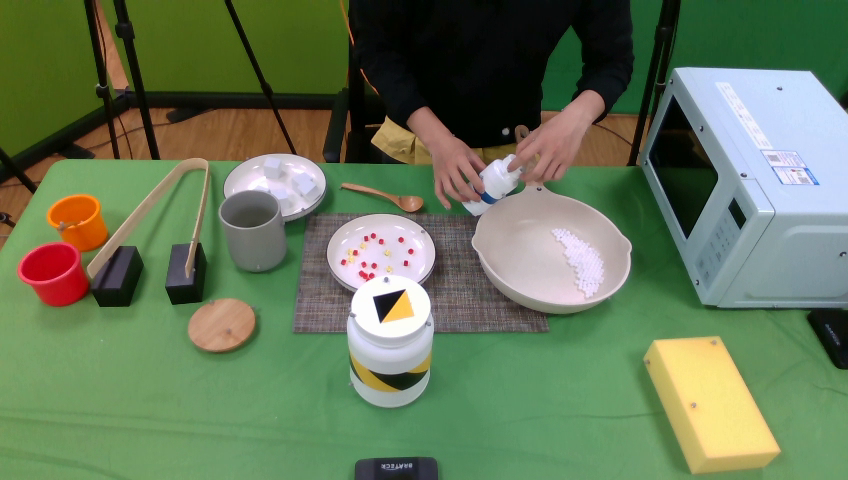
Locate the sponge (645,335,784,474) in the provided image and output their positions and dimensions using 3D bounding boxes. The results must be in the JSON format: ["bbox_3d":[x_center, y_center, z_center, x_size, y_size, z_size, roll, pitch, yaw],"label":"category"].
[{"bbox_3d":[0.449,0.253,0.956,0.118,0.061,0.205,-4,46,-7],"label":"sponge"}]

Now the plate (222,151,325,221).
[{"bbox_3d":[-0.310,-0.106,1.263,0.208,0.039,0.206,2,47,-2],"label":"plate"}]

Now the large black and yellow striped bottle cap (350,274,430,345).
[{"bbox_3d":[-0.048,0.097,0.868,0.115,0.019,0.114,3,48,-3],"label":"large black and yellow striped bottle cap"}]

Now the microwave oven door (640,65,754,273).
[{"bbox_3d":[0.523,-0.147,1.193,0.039,0.245,0.353,0,47,-3],"label":"microwave oven door"}]

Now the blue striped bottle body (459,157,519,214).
[{"bbox_3d":[0.127,-0.105,1.105,0.063,0.121,0.062,31,39,-28],"label":"blue striped bottle body"}]

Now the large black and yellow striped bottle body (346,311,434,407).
[{"bbox_3d":[-0.052,0.157,0.929,0.131,0.185,0.130,2,47,-2],"label":"large black and yellow striped bottle body"}]

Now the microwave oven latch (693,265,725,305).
[{"bbox_3d":[0.523,0.081,1.116,0.030,0.029,0.078,2,46,-1],"label":"microwave oven latch"}]

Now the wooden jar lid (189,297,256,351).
[{"bbox_3d":[-0.342,0.145,1.033,0.108,0.021,0.107,2,45,-2],"label":"wooden jar lid"}]

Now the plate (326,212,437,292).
[{"bbox_3d":[-0.080,0.030,1.143,0.209,0.038,0.208,2,46,-2],"label":"plate"}]

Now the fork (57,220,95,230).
[{"bbox_3d":[-0.624,-0.027,1.086,0.028,0.207,0.018,-3,92,-17],"label":"fork"}]

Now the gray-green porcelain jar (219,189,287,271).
[{"bbox_3d":[-0.310,-0.014,1.113,0.106,0.127,0.105,2,46,-2],"label":"gray-green porcelain jar"}]

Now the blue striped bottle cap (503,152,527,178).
[{"bbox_3d":[0.162,-0.133,1.075,0.045,0.020,0.044,34,35,-28],"label":"blue striped bottle cap"}]

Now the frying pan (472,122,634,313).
[{"bbox_3d":[0.236,-0.061,1.207,0.307,0.103,0.484,1,55,-6],"label":"frying pan"}]

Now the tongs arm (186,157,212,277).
[{"bbox_3d":[-0.445,-0.058,1.168,0.051,0.026,0.382,-5,37,-6],"label":"tongs arm"}]

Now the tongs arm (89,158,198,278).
[{"bbox_3d":[-0.530,-0.057,1.164,0.028,0.028,0.385,1,36,8],"label":"tongs arm"}]

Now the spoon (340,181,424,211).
[{"bbox_3d":[-0.090,-0.100,1.282,0.193,0.022,0.041,18,66,12],"label":"spoon"}]

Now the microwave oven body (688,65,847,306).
[{"bbox_3d":[0.669,-0.111,1.176,0.326,0.261,0.439,0,46,-3],"label":"microwave oven body"}]
